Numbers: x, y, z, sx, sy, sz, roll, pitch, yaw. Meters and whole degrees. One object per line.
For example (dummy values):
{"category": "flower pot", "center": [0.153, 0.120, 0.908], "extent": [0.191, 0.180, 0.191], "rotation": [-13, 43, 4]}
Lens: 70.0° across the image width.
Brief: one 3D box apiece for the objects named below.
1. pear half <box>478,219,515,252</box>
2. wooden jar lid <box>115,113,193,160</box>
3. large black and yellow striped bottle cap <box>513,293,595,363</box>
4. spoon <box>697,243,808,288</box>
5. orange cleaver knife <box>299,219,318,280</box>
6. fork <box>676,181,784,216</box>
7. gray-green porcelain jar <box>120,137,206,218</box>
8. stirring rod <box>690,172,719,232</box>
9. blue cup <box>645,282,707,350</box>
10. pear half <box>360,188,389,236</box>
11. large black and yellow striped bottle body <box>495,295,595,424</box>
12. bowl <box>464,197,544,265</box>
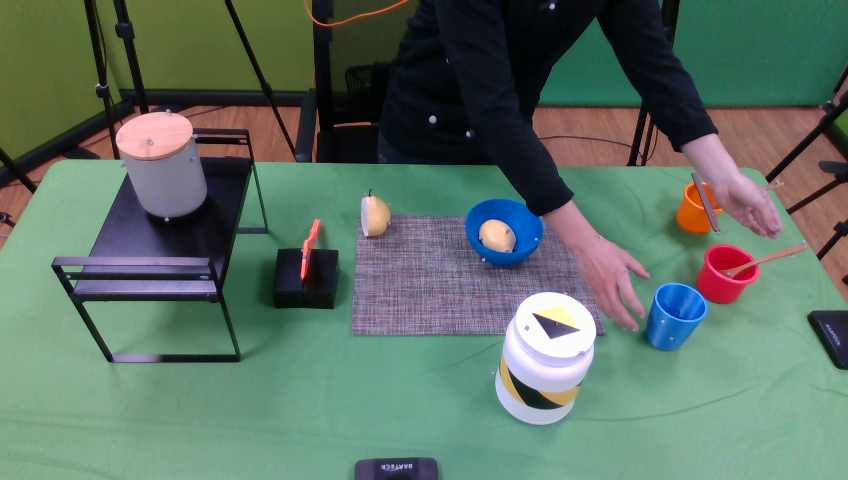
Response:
{"category": "pear half", "center": [0.143, -0.010, 1.164], "extent": [0.070, 0.031, 0.087], "rotation": [-18, 54, -13]}
{"category": "wooden jar lid", "center": [-0.399, -0.151, 0.900], "extent": [0.108, 0.021, 0.107], "rotation": [3, 46, -3]}
{"category": "large black and yellow striped bottle cap", "center": [0.186, 0.123, 0.863], "extent": [0.115, 0.019, 0.114], "rotation": [3, 45, -3]}
{"category": "spoon", "center": [0.601, 0.045, 1.115], "extent": [0.194, 0.022, 0.041], "rotation": [-29, 35, 30]}
{"category": "orange cleaver knife", "center": [-0.214, 0.013, 1.126], "extent": [0.012, 0.077, 0.210], "rotation": [5, 17, -5]}
{"category": "fork", "center": [0.618, -0.084, 1.234], "extent": [0.019, 0.207, 0.028], "rotation": [56, 40, -14]}
{"category": "gray-green porcelain jar", "center": [-0.403, -0.106, 0.946], "extent": [0.106, 0.127, 0.105], "rotation": [3, 46, -2]}
{"category": "stirring rod", "center": [0.566, -0.080, 1.225], "extent": [0.014, 0.006, 0.175], "rotation": [3, 46, 2]}
{"category": "blue cup", "center": [0.425, 0.136, 1.042], "extent": [0.093, 0.101, 0.092], "rotation": [1, 44, -1]}
{"category": "pear half", "center": [-0.096, -0.060, 1.181], "extent": [0.056, 0.110, 0.076], "rotation": [-13, 52, -17]}
{"category": "large black and yellow striped bottle body", "center": [0.183, 0.182, 0.923], "extent": [0.131, 0.185, 0.130], "rotation": [2, 46, -2]}
{"category": "bowl", "center": [0.149, -0.004, 1.167], "extent": [0.151, 0.077, 0.150], "rotation": [3, 46, -2]}
